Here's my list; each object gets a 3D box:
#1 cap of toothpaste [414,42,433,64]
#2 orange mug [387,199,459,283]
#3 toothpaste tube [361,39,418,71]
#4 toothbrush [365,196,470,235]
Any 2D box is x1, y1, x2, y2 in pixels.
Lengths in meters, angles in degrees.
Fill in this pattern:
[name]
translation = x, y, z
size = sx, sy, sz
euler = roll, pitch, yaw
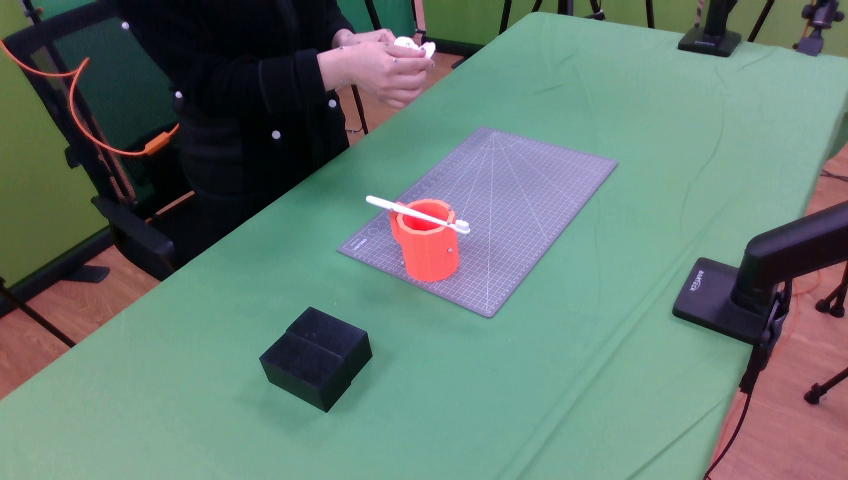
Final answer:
[cap of toothpaste]
translation = 0.000, -0.284, 0.911
size = 0.037, 0.011, 0.037
euler = -29, 49, 40
[orange mug]
translation = -0.006, -0.007, 0.922
size = 0.125, 0.101, 0.084
euler = 33, 54, 32
[toothpaste tube]
translation = -0.052, -0.295, 0.985
size = 0.055, 0.034, 0.164
euler = -2, 3, -24
[toothbrush]
translation = -0.013, -0.039, 0.880
size = 0.180, 0.017, 0.014
euler = 18, 50, 27
